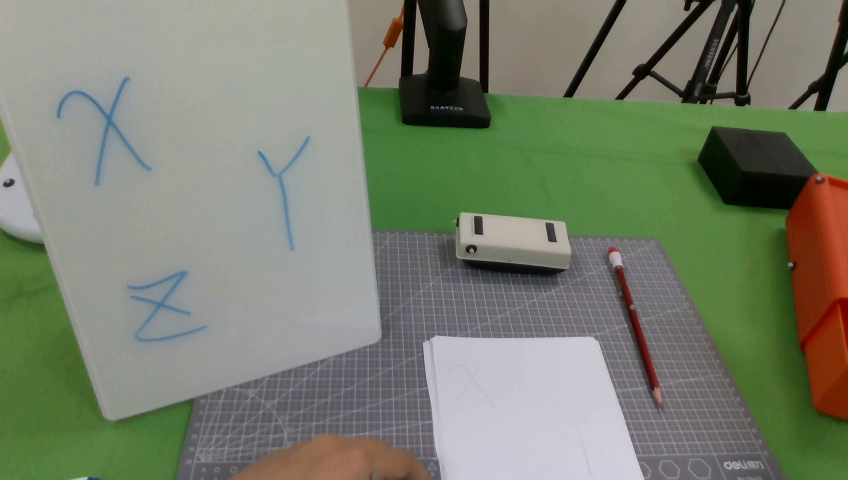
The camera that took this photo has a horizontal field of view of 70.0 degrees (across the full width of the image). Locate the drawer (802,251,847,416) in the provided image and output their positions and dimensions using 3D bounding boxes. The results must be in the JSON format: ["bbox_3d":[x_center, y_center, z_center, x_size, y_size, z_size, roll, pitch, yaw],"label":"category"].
[{"bbox_3d":[0.455,0.083,0.547,0.194,0.074,0.210,17,42,12],"label":"drawer"}]

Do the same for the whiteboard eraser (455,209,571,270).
[{"bbox_3d":[0.087,0.000,0.607,0.113,0.042,0.055,6,42,-2],"label":"whiteboard eraser"}]

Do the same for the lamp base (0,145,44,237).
[{"bbox_3d":[-0.351,-0.120,0.570,0.178,0.182,0.160,29,45,26],"label":"lamp base"}]

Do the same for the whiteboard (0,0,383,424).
[{"bbox_3d":[-0.168,-0.052,0.473,0.218,0.307,0.142,-13,26,-21],"label":"whiteboard"}]

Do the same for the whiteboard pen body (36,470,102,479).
[{"bbox_3d":[-0.283,0.166,0.385,0.141,0.017,0.017,-5,43,-14],"label":"whiteboard pen body"}]

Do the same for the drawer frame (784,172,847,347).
[{"bbox_3d":[0.478,0.041,0.596,0.201,0.083,0.212,17,42,11],"label":"drawer frame"}]

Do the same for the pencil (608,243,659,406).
[{"bbox_3d":[0.196,0.072,0.570,0.012,0.012,0.192,5,43,-3],"label":"pencil"}]
